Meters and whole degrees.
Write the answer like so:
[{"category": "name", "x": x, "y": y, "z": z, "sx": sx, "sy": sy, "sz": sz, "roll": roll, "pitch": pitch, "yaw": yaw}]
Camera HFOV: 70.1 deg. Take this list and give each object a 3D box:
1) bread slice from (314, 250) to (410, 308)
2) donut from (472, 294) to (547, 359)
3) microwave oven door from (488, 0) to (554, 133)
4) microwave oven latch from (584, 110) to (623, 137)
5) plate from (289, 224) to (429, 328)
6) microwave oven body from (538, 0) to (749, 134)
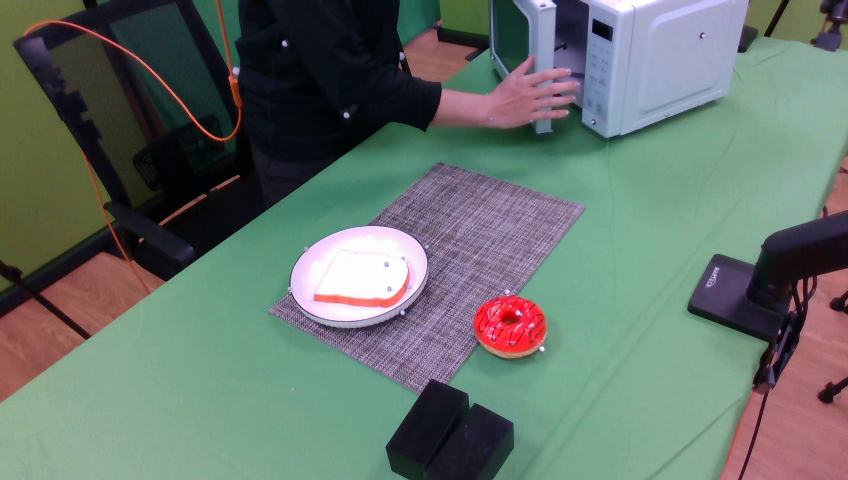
[{"category": "bread slice", "x": -0.087, "y": 0.057, "z": 0.900, "sx": 0.131, "sy": 0.019, "sz": 0.104, "roll": 5, "pitch": 43, "yaw": 14}, {"category": "donut", "x": 0.114, "y": 0.114, "z": 0.803, "sx": 0.099, "sy": 0.048, "sz": 0.098, "roll": 0, "pitch": 40, "yaw": 1}, {"category": "microwave oven door", "x": 0.191, "y": -0.409, "z": 1.223, "sx": 0.039, "sy": 0.245, "sz": 0.353, "roll": -12, "pitch": 41, "yaw": -4}, {"category": "microwave oven latch", "x": 0.337, "y": -0.222, "z": 1.142, "sx": 0.030, "sy": 0.029, "sz": 0.078, "roll": -21, "pitch": 42, "yaw": -14}, {"category": "plate", "x": -0.094, "y": 0.055, "z": 0.902, "sx": 0.207, "sy": 0.039, "sz": 0.206, "roll": -4, "pitch": 41, "yaw": 4}, {"category": "microwave oven body", "x": 0.382, "y": -0.445, "z": 1.246, "sx": 0.327, "sy": 0.261, "sz": 0.437, "roll": -22, "pitch": 42, "yaw": -16}]
